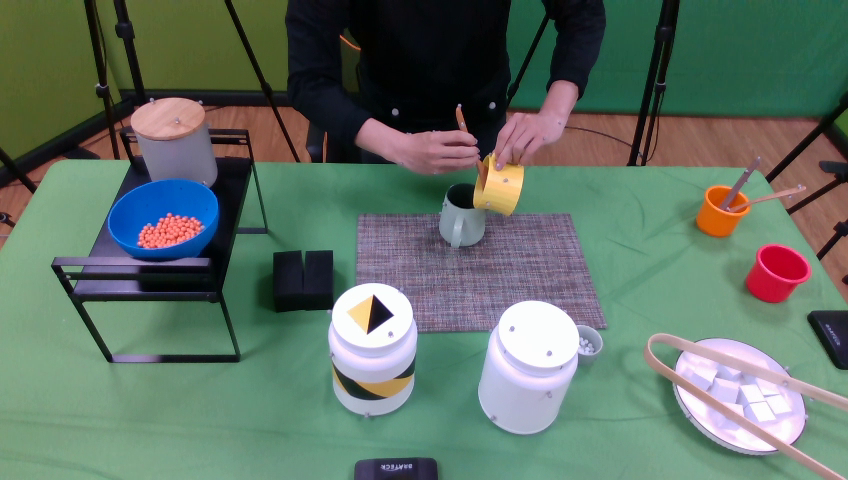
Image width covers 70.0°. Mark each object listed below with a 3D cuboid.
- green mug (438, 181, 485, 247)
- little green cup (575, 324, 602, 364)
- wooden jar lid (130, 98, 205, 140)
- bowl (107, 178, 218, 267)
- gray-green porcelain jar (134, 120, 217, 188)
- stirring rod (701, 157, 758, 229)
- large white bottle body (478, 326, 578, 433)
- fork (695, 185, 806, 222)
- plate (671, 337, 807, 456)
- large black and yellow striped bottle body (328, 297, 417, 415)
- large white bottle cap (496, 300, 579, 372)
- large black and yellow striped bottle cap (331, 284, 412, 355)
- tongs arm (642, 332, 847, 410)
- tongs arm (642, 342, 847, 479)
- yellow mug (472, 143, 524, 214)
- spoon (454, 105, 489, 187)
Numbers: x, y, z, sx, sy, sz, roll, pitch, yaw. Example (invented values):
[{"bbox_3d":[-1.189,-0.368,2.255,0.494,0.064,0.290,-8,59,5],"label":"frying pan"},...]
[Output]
[{"bbox_3d":[0.071,-0.039,1.178,0.092,0.105,0.124,12,47,7],"label":"green mug"},{"bbox_3d":[0.269,0.179,1.036,0.061,0.039,0.061,2,45,-2],"label":"little green cup"},{"bbox_3d":[-0.393,-0.183,0.934,0.108,0.021,0.107,2,44,-2],"label":"wooden jar lid"},{"bbox_3d":[-0.374,-0.014,0.893,0.151,0.077,0.150,2,46,-2],"label":"bowl"},{"bbox_3d":[-0.397,-0.141,0.979,0.106,0.127,0.105,2,47,-2],"label":"gray-green porcelain jar"},{"bbox_3d":[0.634,-0.097,1.257,0.014,0.006,0.176,38,97,30],"label":"stirring rod"},{"bbox_3d":[0.156,0.192,0.913,0.131,0.185,0.130,2,46,-2],"label":"large white bottle body"},{"bbox_3d":[0.658,-0.074,1.230,0.207,0.019,0.028,-23,35,37],"label":"fork"},{"bbox_3d":[0.503,0.254,0.984,0.208,0.039,0.206,2,46,-2],"label":"plate"},{"bbox_3d":[-0.078,0.167,0.920,0.131,0.185,0.130,2,46,-2],"label":"large black and yellow striped bottle body"},{"bbox_3d":[0.160,0.133,0.852,0.115,0.018,0.114,3,46,-2],"label":"large white bottle cap"},{"bbox_3d":[-0.073,0.111,0.858,0.115,0.019,0.114,2,46,-1],"label":"large black and yellow striped bottle cap"},{"bbox_3d":[0.546,0.227,0.968,0.384,0.026,0.050,22,52,13],"label":"tongs arm"},{"bbox_3d":[0.504,0.279,0.918,0.386,0.028,0.028,33,59,22],"label":"tongs arm"},{"bbox_3d":[0.137,-0.115,1.094,0.064,0.131,0.099,14,30,-8],"label":"yellow mug"},{"bbox_3d":[0.087,-0.153,1.049,0.021,0.195,0.041,10,55,40],"label":"spoon"}]
